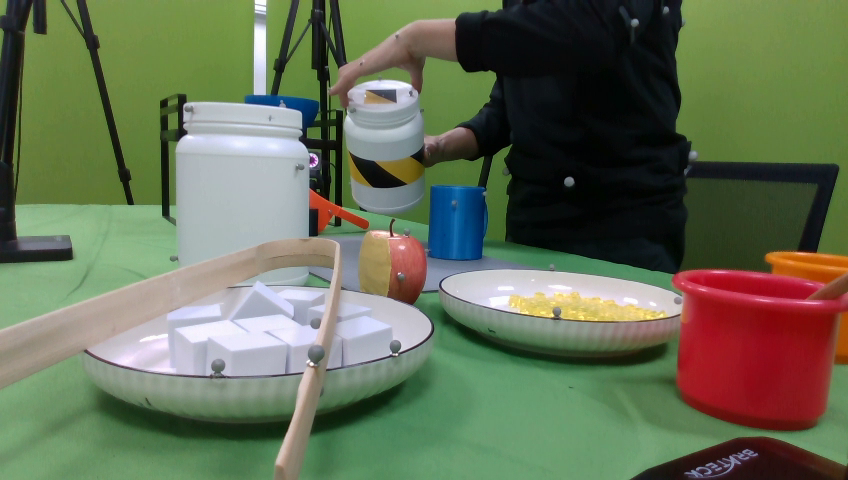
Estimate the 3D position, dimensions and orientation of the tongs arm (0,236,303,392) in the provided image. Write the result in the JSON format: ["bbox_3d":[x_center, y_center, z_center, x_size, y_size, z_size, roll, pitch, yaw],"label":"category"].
[{"bbox_3d":[-0.157,0.037,0.351,0.028,0.028,0.388,-3,8,12],"label":"tongs arm"}]

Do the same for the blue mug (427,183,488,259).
[{"bbox_3d":[0.059,-0.031,0.907,0.082,0.106,0.117,9,9,42],"label":"blue mug"}]

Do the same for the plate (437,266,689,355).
[{"bbox_3d":[0.114,0.057,0.517,0.209,0.038,0.209,3,7,0],"label":"plate"}]

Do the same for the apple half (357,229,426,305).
[{"bbox_3d":[-0.026,0.028,0.570,0.053,0.074,0.080,2,2,-28],"label":"apple half"}]

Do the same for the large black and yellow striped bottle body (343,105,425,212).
[{"bbox_3d":[-0.064,-0.153,1.001,0.131,0.184,0.130,-1,38,1],"label":"large black and yellow striped bottle body"}]

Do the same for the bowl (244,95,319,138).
[{"bbox_3d":[-0.293,-0.251,1.249,0.151,0.077,0.151,2,8,0],"label":"bowl"}]

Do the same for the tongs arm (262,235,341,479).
[{"bbox_3d":[-0.073,0.039,0.349,0.051,0.026,0.384,-1,9,-3],"label":"tongs arm"}]

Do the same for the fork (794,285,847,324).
[{"bbox_3d":[0.332,0.018,0.443,0.028,0.018,0.207,-1,-36,-15],"label":"fork"}]

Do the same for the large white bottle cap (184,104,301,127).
[{"bbox_3d":[-0.184,-0.126,0.618,0.115,0.018,0.115,2,8,0],"label":"large white bottle cap"}]

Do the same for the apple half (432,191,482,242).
[{"bbox_3d":[0.048,-0.036,0.906,0.081,0.081,0.033,2,14,1],"label":"apple half"}]

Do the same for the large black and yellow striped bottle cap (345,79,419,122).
[{"bbox_3d":[-0.066,-0.221,0.949,0.115,0.019,0.115,-2,39,2],"label":"large black and yellow striped bottle cap"}]

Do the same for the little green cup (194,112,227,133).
[{"bbox_3d":[-0.412,-0.228,1.171,0.061,0.038,0.061,2,8,0],"label":"little green cup"}]

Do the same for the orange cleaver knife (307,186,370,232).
[{"bbox_3d":[-0.197,-0.056,1.141,0.212,0.077,0.012,29,0,-35],"label":"orange cleaver knife"}]

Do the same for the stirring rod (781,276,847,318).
[{"bbox_3d":[0.344,0.019,0.461,0.014,0.006,0.176,-13,-27,-30],"label":"stirring rod"}]

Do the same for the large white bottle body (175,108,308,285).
[{"bbox_3d":[-0.188,-0.042,0.630,0.131,0.184,0.130,2,8,0],"label":"large white bottle body"}]

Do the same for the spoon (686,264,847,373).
[{"bbox_3d":[0.215,0.032,0.328,0.042,0.021,0.193,-2,-35,-25],"label":"spoon"}]

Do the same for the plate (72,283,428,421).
[{"bbox_3d":[-0.102,0.066,0.381,0.208,0.039,0.207,2,7,0],"label":"plate"}]
